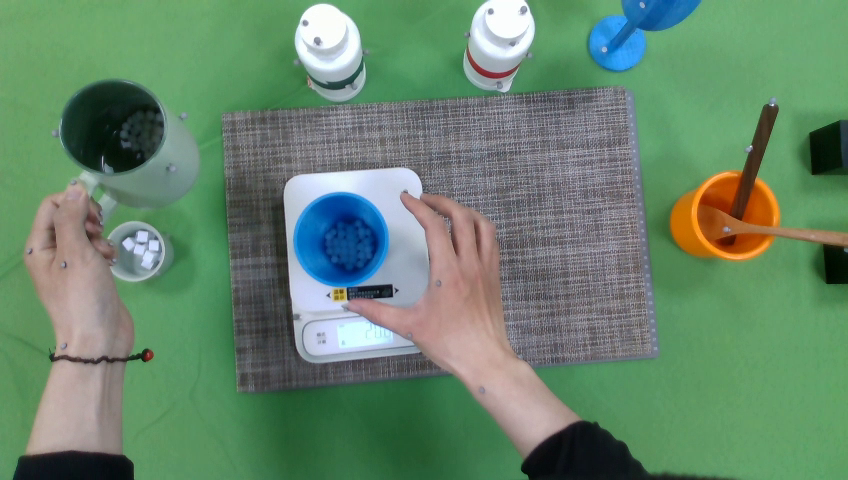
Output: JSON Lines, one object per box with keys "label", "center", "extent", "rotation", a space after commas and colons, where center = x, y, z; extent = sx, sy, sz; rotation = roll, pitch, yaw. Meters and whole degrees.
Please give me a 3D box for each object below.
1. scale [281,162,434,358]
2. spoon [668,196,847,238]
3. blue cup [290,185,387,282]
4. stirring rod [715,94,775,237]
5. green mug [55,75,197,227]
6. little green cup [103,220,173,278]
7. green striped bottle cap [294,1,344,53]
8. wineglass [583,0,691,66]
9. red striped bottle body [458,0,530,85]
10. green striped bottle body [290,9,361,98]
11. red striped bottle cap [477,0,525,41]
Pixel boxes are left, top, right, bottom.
{"label": "scale", "center": [-0.071, 0.021, 0.644], "extent": [0.149, 0.031, 0.200], "rotation": [-6, 87, -3]}
{"label": "spoon", "center": [0.344, -0.017, 0.610], "extent": [0.022, 0.192, 0.041], "rotation": [6, 94, -45]}
{"label": "blue cup", "center": [-0.077, -0.004, 0.580], "extent": [0.093, 0.100, 0.092], "rotation": [0, 88, -3]}
{"label": "stirring rod", "center": [0.321, -0.068, 0.611], "extent": [0.014, 0.178, 0.005], "rotation": [4, 45, 12]}
{"label": "green mug", "center": [-0.255, -0.067, 0.507], "extent": [0.093, 0.105, 0.125], "rotation": [29, 78, -5]}
{"label": "little green cup", "center": [-0.296, 0.010, 0.635], "extent": [0.061, 0.038, 0.061], "rotation": [0, 86, -3]}
{"label": "green striped bottle cap", "center": [-0.097, -0.197, 0.559], "extent": [0.044, 0.020, 0.044], "rotation": [0, 86, -2]}
{"label": "wineglass", "center": [0.215, -0.237, 0.604], "extent": [0.074, 0.172, 0.073], "rotation": [0, 86, -1]}
{"label": "red striped bottle body", "center": [0.071, -0.208, 0.623], "extent": [0.063, 0.120, 0.063], "rotation": [0, 86, -3]}
{"label": "green striped bottle body", "center": [-0.099, -0.192, 0.615], "extent": [0.063, 0.119, 0.063], "rotation": [0, 86, -2]}
{"label": "red striped bottle cap", "center": [0.073, -0.212, 0.570], "extent": [0.044, 0.018, 0.044], "rotation": [0, 84, -2]}
